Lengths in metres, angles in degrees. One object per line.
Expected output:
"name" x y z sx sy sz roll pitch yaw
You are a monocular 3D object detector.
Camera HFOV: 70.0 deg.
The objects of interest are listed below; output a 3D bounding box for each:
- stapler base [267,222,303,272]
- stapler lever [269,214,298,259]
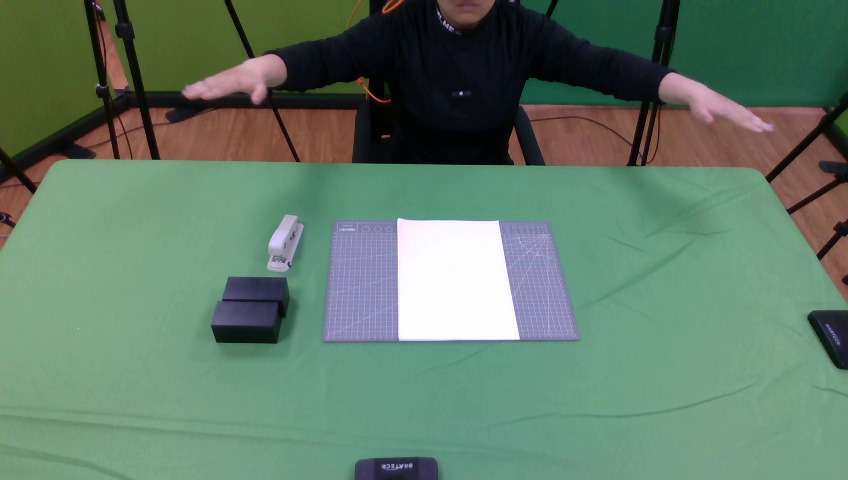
"stapler base" -0.269 0.005 1.170 0.041 0.024 0.130 7 44 0
"stapler lever" -0.268 -0.014 1.154 0.027 0.040 0.117 7 44 1
